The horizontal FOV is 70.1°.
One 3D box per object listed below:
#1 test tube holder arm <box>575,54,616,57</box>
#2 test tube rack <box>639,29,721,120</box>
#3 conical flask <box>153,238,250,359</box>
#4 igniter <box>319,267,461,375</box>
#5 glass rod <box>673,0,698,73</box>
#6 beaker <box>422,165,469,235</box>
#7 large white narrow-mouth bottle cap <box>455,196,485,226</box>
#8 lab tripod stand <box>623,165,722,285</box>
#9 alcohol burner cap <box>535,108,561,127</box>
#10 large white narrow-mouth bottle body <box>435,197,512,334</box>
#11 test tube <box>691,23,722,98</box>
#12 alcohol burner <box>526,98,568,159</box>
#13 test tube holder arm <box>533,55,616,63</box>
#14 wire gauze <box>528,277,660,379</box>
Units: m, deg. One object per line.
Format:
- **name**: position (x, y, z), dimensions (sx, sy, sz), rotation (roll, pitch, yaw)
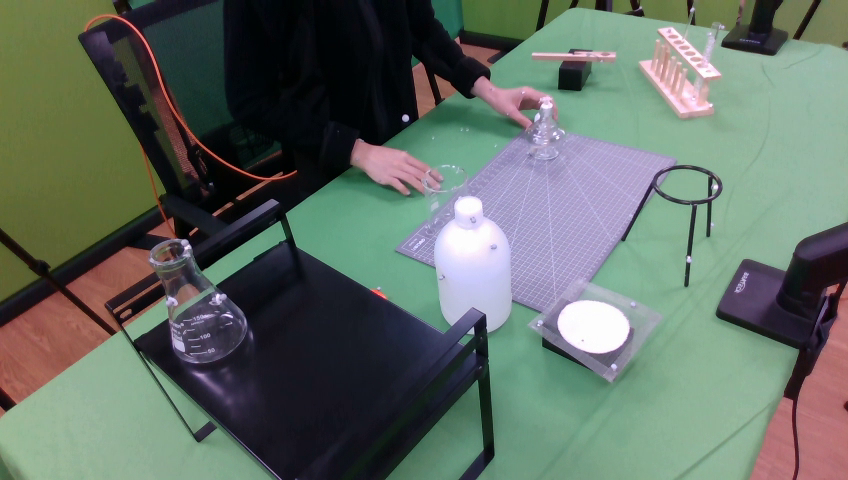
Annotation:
- **test tube holder arm**: position (0.373, -0.398, 1.318), dimensions (0.087, 0.015, 0.010), rotation (5, 51, 15)
- **test tube rack**: position (0.527, -0.351, 1.262), dimensions (0.067, 0.085, 0.241), rotation (-8, 40, 1)
- **conical flask**: position (-0.225, 0.055, 0.597), dimensions (0.075, 0.122, 0.075), rotation (-5, 41, 4)
- **igniter**: position (-0.060, 0.108, 0.862), dimensions (0.274, 0.025, 0.057), rotation (28, 62, 35)
- **glass rod**: position (0.537, -0.424, 1.244), dimensions (0.008, 0.200, 0.008), rotation (0, 47, 0)
- **beaker**: position (0.041, -0.063, 0.986), dimensions (0.073, 0.101, 0.084), rotation (20, 47, 29)
- **large white narrow-mouth bottle cap**: position (0.057, -0.036, 0.749), dimensions (0.038, 0.024, 0.037), rotation (-4, 40, 4)
- **lab tripod stand**: position (0.365, -0.030, 0.874), dimensions (0.148, 0.132, 0.147), rotation (-6, 41, 6)
- **alcohol burner cap**: position (0.243, -0.239, 1.192), dimensions (0.048, 0.034, 0.033), rotation (-13, 40, -6)
- **large white narrow-mouth bottle body**: position (0.066, 0.029, 0.805), dimensions (0.102, 0.195, 0.101), rotation (-4, 40, 4)
- **test tube**: position (0.547, -0.345, 1.173), dimensions (0.017, 0.151, 0.017), rotation (0, 42, 0)
- **alcohol burner**: position (0.228, -0.210, 1.118), dimensions (0.078, 0.119, 0.077), rotation (-5, 43, 5)
- **test tube holder arm**: position (0.329, -0.398, 1.327), dimensions (0.178, 0.015, 0.013), rotation (5, 51, 15)
- **wire gauze**: position (0.213, 0.103, 0.763), dimensions (0.124, 0.011, 0.122), rotation (30, 52, 35)
